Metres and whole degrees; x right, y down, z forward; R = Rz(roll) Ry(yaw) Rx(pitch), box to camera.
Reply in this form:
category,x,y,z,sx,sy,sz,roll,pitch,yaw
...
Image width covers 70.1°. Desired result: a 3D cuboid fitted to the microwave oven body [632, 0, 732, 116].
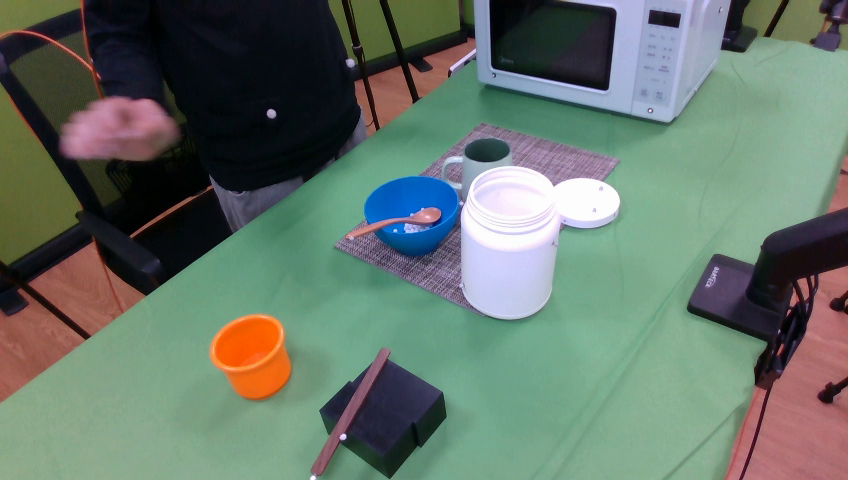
category,x,y,z,sx,sy,sz,roll,pitch,yaw
microwave oven body,0.377,-0.462,1.267,0.438,0.261,0.327,21,48,30

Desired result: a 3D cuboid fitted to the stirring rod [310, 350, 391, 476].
category,x,y,z,sx,sy,sz,roll,pitch,yaw
stirring rod,-0.081,0.192,0.693,0.014,0.006,0.176,7,40,25

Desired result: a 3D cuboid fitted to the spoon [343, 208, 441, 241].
category,x,y,z,sx,sy,sz,roll,pitch,yaw
spoon,-0.046,-0.025,0.911,0.041,0.021,0.195,26,27,38

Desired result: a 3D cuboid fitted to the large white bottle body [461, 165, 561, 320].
category,x,y,z,sx,sy,sz,roll,pitch,yaw
large white bottle body,0.115,0.004,0.816,0.130,0.185,0.130,-2,43,2

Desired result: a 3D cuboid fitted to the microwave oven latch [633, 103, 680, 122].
category,x,y,z,sx,sy,sz,roll,pitch,yaw
microwave oven latch,0.444,-0.249,1.157,0.078,0.029,0.030,21,48,30

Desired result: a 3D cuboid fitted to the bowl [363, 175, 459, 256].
category,x,y,z,sx,sy,sz,roll,pitch,yaw
bowl,-0.016,-0.028,0.955,0.151,0.077,0.150,-4,40,4

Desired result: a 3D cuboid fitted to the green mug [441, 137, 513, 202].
category,x,y,z,sx,sy,sz,roll,pitch,yaw
green mug,0.091,-0.108,1.012,0.125,0.105,0.092,2,42,11

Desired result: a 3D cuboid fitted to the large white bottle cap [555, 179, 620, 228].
category,x,y,z,sx,sy,sz,roll,pitch,yaw
large white bottle cap,0.265,-0.062,1.001,0.115,0.018,0.114,-3,41,3

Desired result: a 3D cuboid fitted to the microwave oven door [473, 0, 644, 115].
category,x,y,z,sx,sy,sz,roll,pitch,yaw
microwave oven door,0.257,-0.396,1.199,0.353,0.245,0.039,21,48,29
